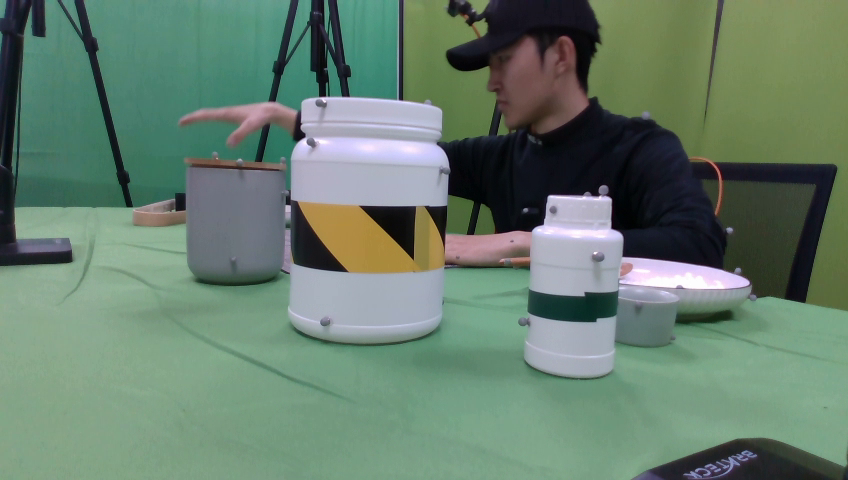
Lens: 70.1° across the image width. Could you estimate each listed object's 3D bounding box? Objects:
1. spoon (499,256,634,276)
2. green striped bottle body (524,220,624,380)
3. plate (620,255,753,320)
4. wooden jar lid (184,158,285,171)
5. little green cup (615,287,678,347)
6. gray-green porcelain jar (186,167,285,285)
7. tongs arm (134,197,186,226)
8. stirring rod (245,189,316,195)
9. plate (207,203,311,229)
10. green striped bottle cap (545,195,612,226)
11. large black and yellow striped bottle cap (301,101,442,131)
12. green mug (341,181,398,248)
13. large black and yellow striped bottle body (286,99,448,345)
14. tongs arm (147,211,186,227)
[{"bbox_3d":[0.162,0.027,0.679,0.195,0.021,0.041,8,2,-30],"label":"spoon"},{"bbox_3d":[0.104,0.031,0.422,0.063,0.119,0.063,2,8,0],"label":"green striped bottle body"},{"bbox_3d":[0.234,0.049,0.651,0.209,0.038,0.209,2,7,0],"label":"plate"},{"bbox_3d":[-0.210,-0.078,0.674,0.108,0.020,0.108,5,6,0],"label":"wooden jar lid"},{"bbox_3d":[0.180,0.064,0.506,0.061,0.038,0.061,1,9,0],"label":"little green cup"},{"bbox_3d":[-0.212,-0.017,0.682,0.106,0.126,0.106,2,7,0],"label":"gray-green porcelain jar"},{"bbox_3d":[-0.556,-0.066,1.320,0.051,0.026,0.384,7,7,-5],"label":"tongs arm"},{"bbox_3d":[-0.351,-0.119,1.490,0.177,0.014,0.006,-2,5,-29],"label":"stirring rod"},{"bbox_3d":[-0.342,-0.050,1.259,0.208,0.039,0.207,2,7,0],"label":"plate"},{"bbox_3d":[0.106,-0.020,0.414,0.044,0.020,0.044,2,4,0],"label":"green striped bottle cap"},{"bbox_3d":[-0.042,-0.100,0.491,0.115,0.019,0.115,1,8,0],"label":"large black and yellow striped bottle cap"},{"bbox_3d":[-0.089,-0.044,0.997,0.093,0.105,0.125,1,7,-8],"label":"green mug"},{"bbox_3d":[-0.047,-0.018,0.501,0.131,0.184,0.130,2,7,0],"label":"large black and yellow striped bottle body"},{"bbox_3d":[-0.478,-0.059,1.322,0.028,0.028,0.388,12,8,7],"label":"tongs arm"}]
